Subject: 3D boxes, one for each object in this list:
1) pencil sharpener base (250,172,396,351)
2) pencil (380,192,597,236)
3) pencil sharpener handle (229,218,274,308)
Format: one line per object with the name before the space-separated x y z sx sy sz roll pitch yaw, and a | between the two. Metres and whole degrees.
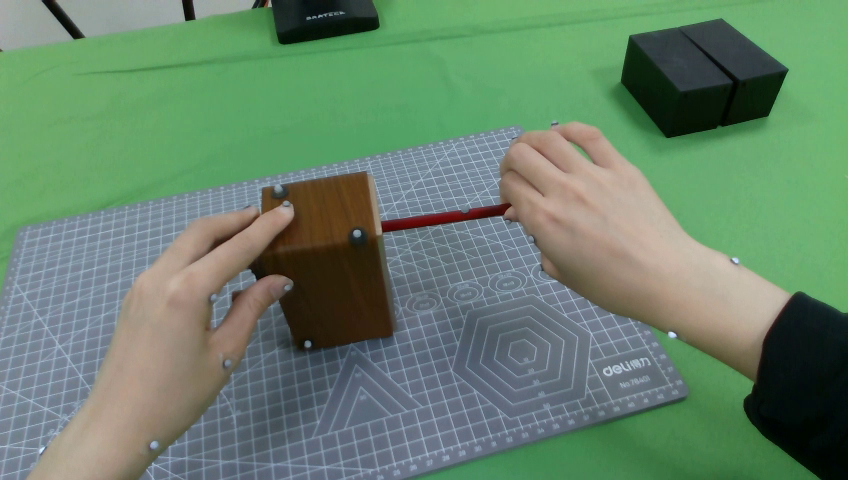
pencil sharpener base | -0.063 0.018 0.397 0.077 0.108 0.060 -9 48 -4
pencil | 0.015 -0.012 0.384 0.194 0.012 0.012 -8 47 -4
pencil sharpener handle | -0.114 0.018 0.383 0.031 0.068 0.035 -9 44 -4
